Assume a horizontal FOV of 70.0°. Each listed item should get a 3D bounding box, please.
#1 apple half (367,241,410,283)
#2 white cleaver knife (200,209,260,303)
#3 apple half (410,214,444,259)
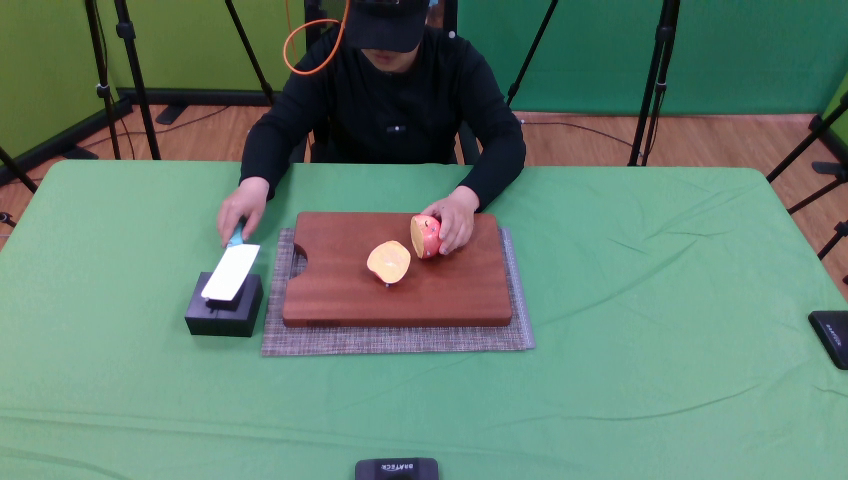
[{"bbox_3d":[-0.059,0.043,1.100,0.081,0.033,0.081,-3,67,8],"label":"apple half"},{"bbox_3d":[-0.339,0.025,1.117,0.066,0.021,0.285,9,35,-5],"label":"white cleaver knife"},{"bbox_3d":[0.010,-0.007,1.131,0.053,0.075,0.080,-9,44,-17],"label":"apple half"}]
